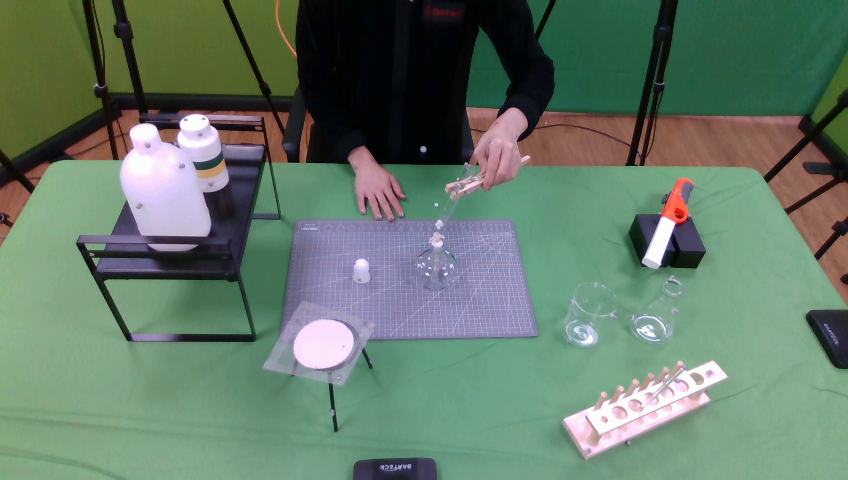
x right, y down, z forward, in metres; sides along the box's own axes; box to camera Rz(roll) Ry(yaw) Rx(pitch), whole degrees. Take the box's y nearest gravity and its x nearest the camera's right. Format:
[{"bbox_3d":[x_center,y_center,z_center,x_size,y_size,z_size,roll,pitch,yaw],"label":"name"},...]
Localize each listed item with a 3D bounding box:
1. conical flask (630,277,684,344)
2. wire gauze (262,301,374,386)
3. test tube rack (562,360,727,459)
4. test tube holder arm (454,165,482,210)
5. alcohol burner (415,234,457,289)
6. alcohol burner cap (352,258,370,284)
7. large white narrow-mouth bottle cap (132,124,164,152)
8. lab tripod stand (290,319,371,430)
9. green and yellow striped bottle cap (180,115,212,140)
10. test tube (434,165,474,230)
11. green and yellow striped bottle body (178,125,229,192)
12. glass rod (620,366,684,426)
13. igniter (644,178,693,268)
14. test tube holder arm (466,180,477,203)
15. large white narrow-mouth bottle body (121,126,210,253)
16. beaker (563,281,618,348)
[{"bbox_3d":[0.408,0.117,1.045,0.075,0.122,0.075,2,46,-2],"label":"conical flask"},{"bbox_3d":[-0.150,0.148,0.873,0.121,0.011,0.124,14,46,12],"label":"wire gauze"},{"bbox_3d":[0.341,0.247,0.940,0.243,0.085,0.066,-16,49,-18],"label":"test tube rack"},{"bbox_3d":[0.072,-0.084,0.989,0.015,0.088,0.010,-24,36,9],"label":"test tube holder arm"},{"bbox_3d":[0.022,0.033,1.100,0.078,0.120,0.077,1,47,-1],"label":"alcohol burner"},{"bbox_3d":[-0.117,0.055,1.118,0.034,0.048,0.033,1,46,-1],"label":"alcohol burner cap"},{"bbox_3d":[-0.370,-0.137,0.813,0.038,0.024,0.037,3,46,-3],"label":"large white narrow-mouth bottle cap"},{"bbox_3d":[-0.146,0.193,0.923,0.148,0.132,0.147,1,47,-1],"label":"lab tripod stand"},{"bbox_3d":[-0.358,-0.177,0.951,0.045,0.020,0.045,2,44,-1],"label":"green and yellow striped bottle cap"},{"bbox_3d":[0.047,-0.066,0.990,0.017,0.150,0.017,13,48,-15],"label":"test tube"},{"bbox_3d":[-0.361,-0.142,0.989,0.063,0.120,0.063,2,46,-2],"label":"green and yellow striped bottle body"},{"bbox_3d":[0.322,0.227,0.866,0.008,0.200,0.008,6,51,-7],"label":"glass rod"},{"bbox_3d":[0.488,-0.042,1.204,0.057,0.025,0.276,30,51,10],"label":"igniter"},{"bbox_3d":[0.078,-0.085,1.029,0.015,0.013,0.178,-29,13,8],"label":"test tube holder arm"},{"bbox_3d":[-0.378,-0.077,0.875,0.102,0.195,0.101,3,46,-3],"label":"large white narrow-mouth bottle body"},{"bbox_3d":[0.283,0.129,1.041,0.074,0.101,0.083,11,46,7],"label":"beaker"}]
